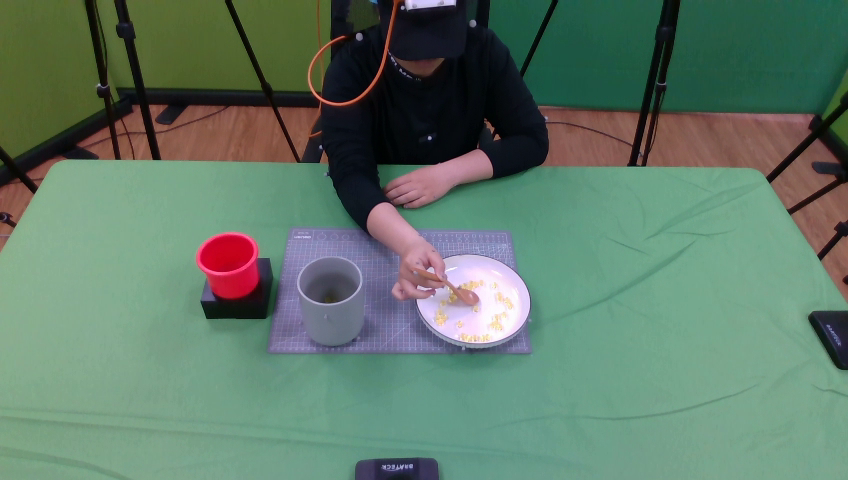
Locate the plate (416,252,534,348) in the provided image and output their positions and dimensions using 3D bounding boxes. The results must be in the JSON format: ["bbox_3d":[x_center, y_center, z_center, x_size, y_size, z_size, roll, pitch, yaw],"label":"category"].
[{"bbox_3d":[0.090,0.109,1.084,0.208,0.039,0.206,2,46,-2],"label":"plate"}]

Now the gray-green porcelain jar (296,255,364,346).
[{"bbox_3d":[-0.153,0.106,1.008,0.106,0.127,0.105,2,46,-2],"label":"gray-green porcelain jar"}]

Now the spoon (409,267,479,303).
[{"bbox_3d":[0.036,0.073,1.027,0.021,0.195,0.041,-44,50,12],"label":"spoon"}]
